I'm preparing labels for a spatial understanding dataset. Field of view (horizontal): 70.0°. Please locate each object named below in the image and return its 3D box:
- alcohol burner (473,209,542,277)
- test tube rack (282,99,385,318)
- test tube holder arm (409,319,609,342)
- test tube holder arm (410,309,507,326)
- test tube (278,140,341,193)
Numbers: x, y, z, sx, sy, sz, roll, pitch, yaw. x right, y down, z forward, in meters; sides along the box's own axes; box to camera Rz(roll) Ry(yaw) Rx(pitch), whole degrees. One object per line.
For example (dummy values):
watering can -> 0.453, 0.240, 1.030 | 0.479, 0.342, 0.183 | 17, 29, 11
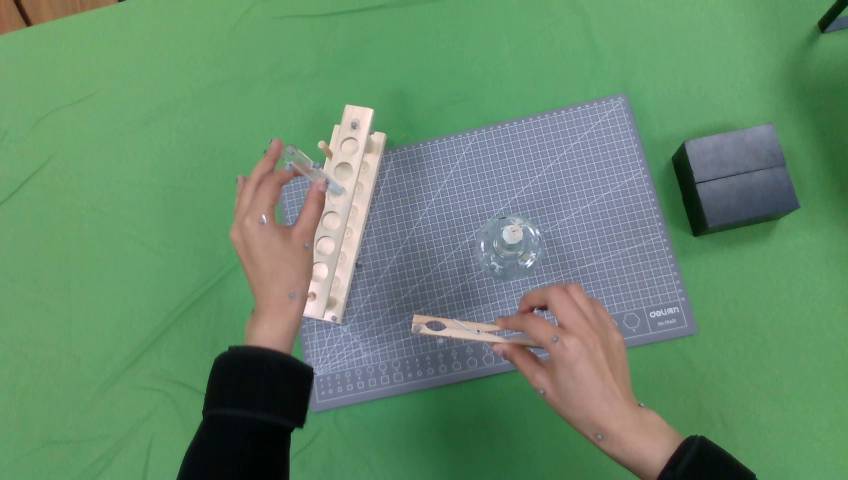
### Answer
alcohol burner -> 0.092, -0.001, 0.665 | 0.078, 0.119, 0.077 | -1, 77, 5
test tube rack -> -0.112, -0.037, 0.707 | 0.066, 0.085, 0.241 | 12, 80, 9
test tube holder arm -> 0.076, 0.082, 0.547 | 0.178, 0.015, 0.013 | 5, 74, 1
test tube holder arm -> 0.031, 0.072, 0.549 | 0.088, 0.015, 0.010 | 5, 74, 1
test tube -> -0.102, -0.066, 0.567 | 0.017, 0.151, 0.017 | -1, 83, 7
